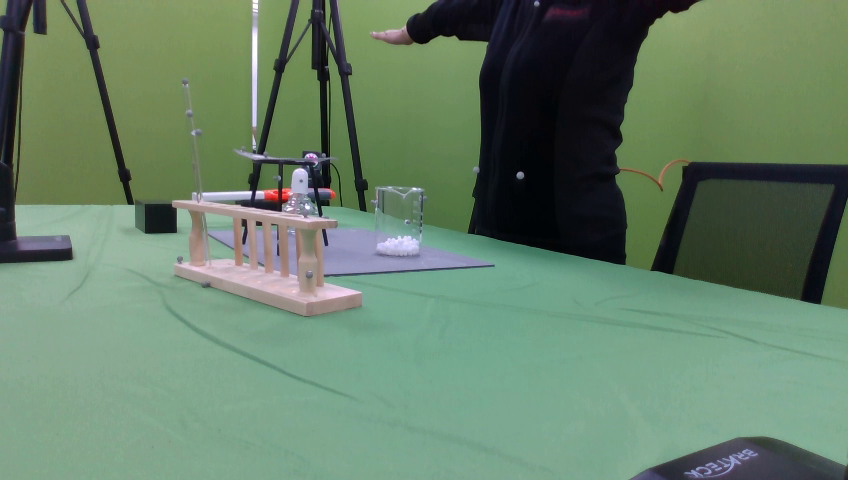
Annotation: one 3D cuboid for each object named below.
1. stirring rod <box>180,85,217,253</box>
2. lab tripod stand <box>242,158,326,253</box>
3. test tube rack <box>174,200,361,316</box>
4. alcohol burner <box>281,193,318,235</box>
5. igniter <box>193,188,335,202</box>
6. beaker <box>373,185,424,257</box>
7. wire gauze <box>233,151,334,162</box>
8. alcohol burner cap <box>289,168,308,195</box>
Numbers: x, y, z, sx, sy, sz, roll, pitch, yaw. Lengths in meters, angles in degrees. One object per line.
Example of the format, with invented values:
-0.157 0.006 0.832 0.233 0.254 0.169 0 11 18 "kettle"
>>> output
-0.236 -0.073 0.634 0.006 0.176 0.014 1 10 42 "stirring rod"
-0.207 -0.054 0.895 0.148 0.131 0.148 2 5 0 "lab tripod stand"
-0.169 0.009 0.622 0.241 0.085 0.067 9 9 41 "test tube rack"
-0.225 -0.069 1.086 0.078 0.119 0.078 2 6 0 "alcohol burner"
-0.312 -0.089 1.209 0.278 0.025 0.057 -5 13 -31 "igniter"
-0.037 -0.028 0.884 0.074 0.100 0.084 0 9 -11 "beaker"
-0.204 -0.120 0.887 0.122 0.011 0.124 0 7 -32 "wire gauze"
-0.224 -0.105 1.081 0.034 0.048 0.034 3 2 0 "alcohol burner cap"
